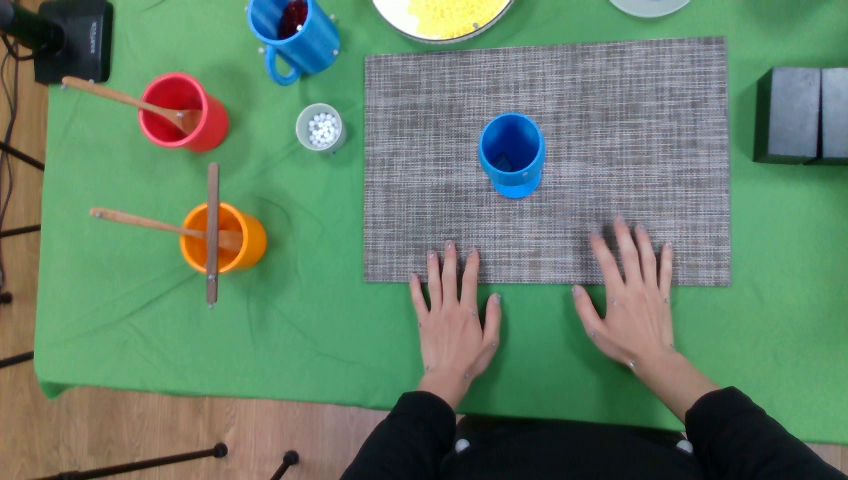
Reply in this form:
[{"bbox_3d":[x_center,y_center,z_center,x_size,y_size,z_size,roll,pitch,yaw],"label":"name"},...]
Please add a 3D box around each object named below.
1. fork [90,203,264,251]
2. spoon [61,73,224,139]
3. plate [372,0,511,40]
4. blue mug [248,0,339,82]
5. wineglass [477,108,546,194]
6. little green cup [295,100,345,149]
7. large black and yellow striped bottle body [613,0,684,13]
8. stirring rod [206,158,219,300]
[{"bbox_3d":[-0.304,-0.017,0.762,0.209,0.018,0.028,14,97,-33],"label":"fork"},{"bbox_3d":[-0.357,-0.177,0.779,0.195,0.021,0.041,17,92,-33],"label":"spoon"},{"bbox_3d":[0.025,-0.355,0.776,0.209,0.038,0.209,0,88,9],"label":"plate"},{"bbox_3d":[-0.168,-0.259,0.771,0.082,0.106,0.116,21,91,10],"label":"blue mug"},{"bbox_3d":[0.100,-0.095,0.680,0.073,0.173,0.073,0,87,10],"label":"wineglass"},{"bbox_3d":[-0.133,-0.149,0.794,0.061,0.039,0.061,0,88,10],"label":"little green cup"},{"bbox_3d":[0.264,-0.347,0.661,0.130,0.184,0.130,0,87,10],"label":"large black and yellow striped bottle body"},{"bbox_3d":[-0.263,-0.014,0.751,0.014,0.006,0.176,-1,88,10],"label":"stirring rod"}]
